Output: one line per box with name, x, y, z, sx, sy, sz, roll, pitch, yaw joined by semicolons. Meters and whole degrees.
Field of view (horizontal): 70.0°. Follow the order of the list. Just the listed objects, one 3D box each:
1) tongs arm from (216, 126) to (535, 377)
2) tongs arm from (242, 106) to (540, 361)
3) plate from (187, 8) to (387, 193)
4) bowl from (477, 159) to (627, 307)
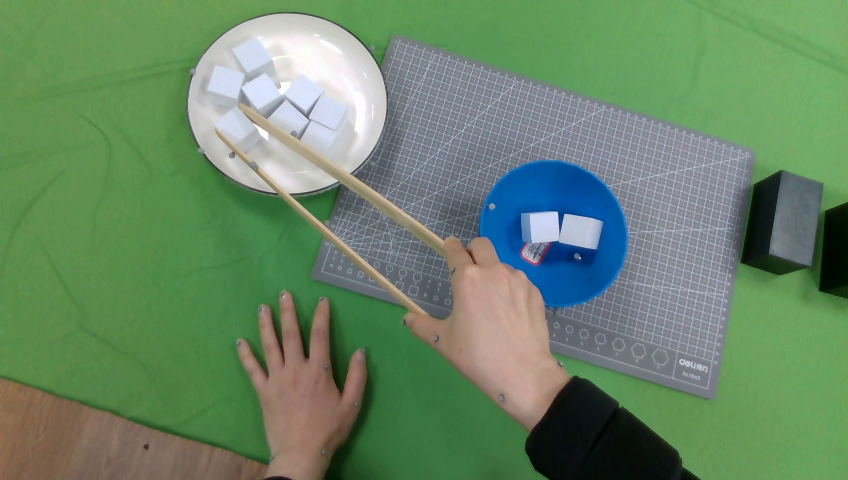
tongs arm;-0.061;-0.008;0.541;0.051;0.027;0.381;-41;64;-16
tongs arm;-0.045;-0.024;0.548;0.384;0.028;0.028;37;67;24
plate;-0.144;-0.147;0.651;0.208;0.039;0.206;1;77;-5
bowl;0.122;0.000;0.627;0.152;0.077;0.150;2;77;-7
